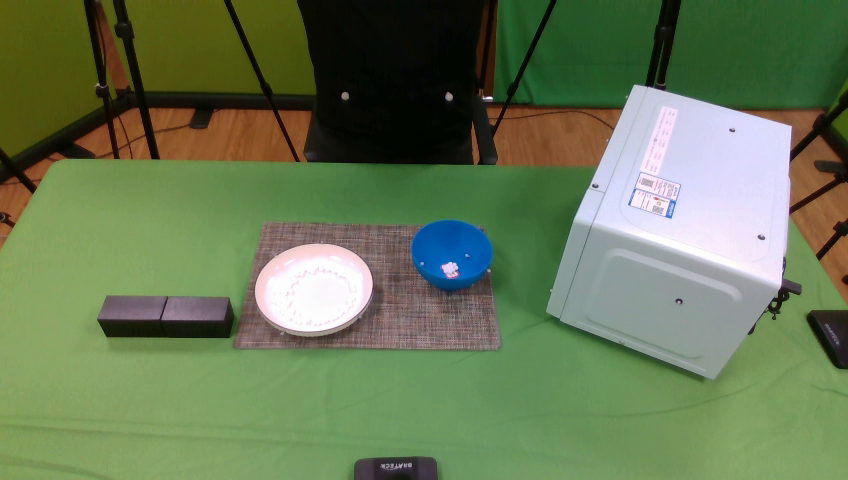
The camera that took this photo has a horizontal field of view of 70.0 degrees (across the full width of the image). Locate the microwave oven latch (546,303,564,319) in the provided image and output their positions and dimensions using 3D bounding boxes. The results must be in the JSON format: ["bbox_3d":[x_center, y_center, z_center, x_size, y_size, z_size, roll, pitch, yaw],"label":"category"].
[{"bbox_3d":[0.242,0.102,1.081,0.030,0.029,0.079,21,48,17],"label":"microwave oven latch"}]

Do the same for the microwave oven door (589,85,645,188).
[{"bbox_3d":[0.342,-0.107,1.149,0.039,0.245,0.354,20,48,15],"label":"microwave oven door"}]

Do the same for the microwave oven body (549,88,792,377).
[{"bbox_3d":[0.456,-0.028,1.088,0.325,0.261,0.440,20,47,16],"label":"microwave oven body"}]

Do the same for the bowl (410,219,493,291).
[{"bbox_3d":[0.048,0.041,1.117,0.151,0.077,0.150,2,46,-2],"label":"bowl"}]

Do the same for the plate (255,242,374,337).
[{"bbox_3d":[-0.192,0.090,1.080,0.208,0.039,0.206,2,46,-2],"label":"plate"}]
